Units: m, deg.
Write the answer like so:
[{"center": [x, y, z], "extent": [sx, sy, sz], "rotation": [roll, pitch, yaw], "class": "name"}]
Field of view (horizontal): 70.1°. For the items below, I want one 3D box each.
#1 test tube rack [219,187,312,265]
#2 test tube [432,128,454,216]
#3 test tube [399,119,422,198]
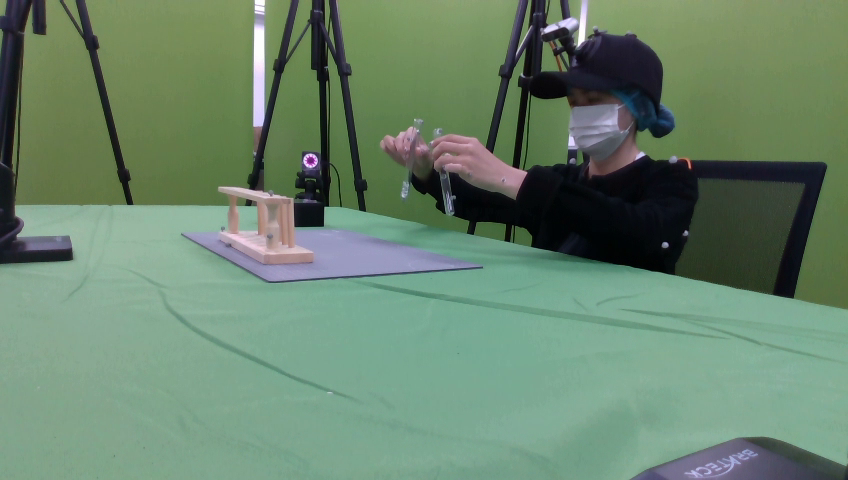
[{"center": [-0.235, -0.027, 0.872], "extent": [0.067, 0.085, 0.241], "rotation": [-2, 8, -31], "class": "test tube rack"}, {"center": [0.032, -0.113, 1.003], "extent": [0.017, 0.150, 0.017], "rotation": [-9, -6, -1], "class": "test tube"}, {"center": [-0.025, -0.147, 1.100], "extent": [0.017, 0.150, 0.017], "rotation": [11, 23, -4], "class": "test tube"}]
